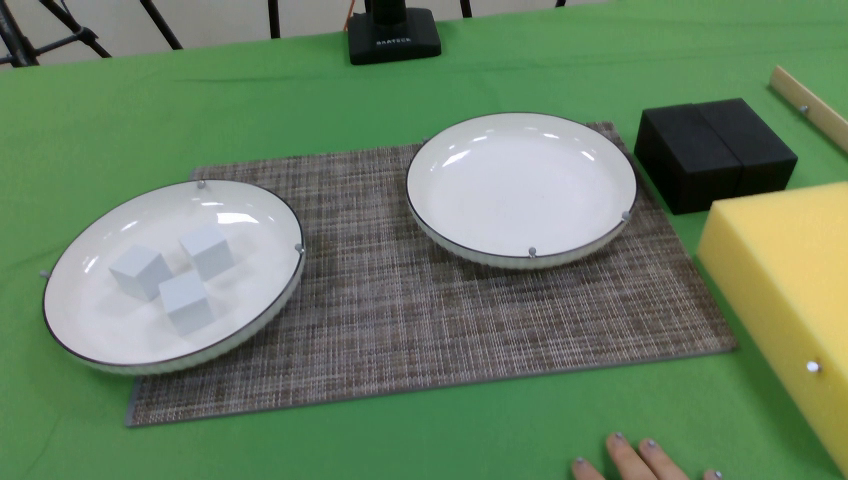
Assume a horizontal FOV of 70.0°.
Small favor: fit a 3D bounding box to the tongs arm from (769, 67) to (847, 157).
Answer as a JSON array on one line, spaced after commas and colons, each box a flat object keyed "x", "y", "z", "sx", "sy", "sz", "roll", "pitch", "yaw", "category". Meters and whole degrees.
[{"x": 0.443, "y": -0.057, "z": 0.559, "sx": 0.028, "sy": 0.028, "sz": 0.383, "roll": -10, "pitch": 45, "yaw": -9, "category": "tongs arm"}]

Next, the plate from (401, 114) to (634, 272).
[{"x": 0.084, "y": -0.043, "z": 0.561, "sx": 0.207, "sy": 0.039, "sz": 0.205, "roll": -2, "pitch": 45, "yaw": 2, "category": "plate"}]

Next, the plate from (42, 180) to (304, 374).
[{"x": -0.202, "y": 0.029, "z": 0.510, "sx": 0.209, "sy": 0.038, "sz": 0.207, "roll": -2, "pitch": 44, "yaw": 2, "category": "plate"}]

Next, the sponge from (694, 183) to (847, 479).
[{"x": 0.304, "y": 0.053, "z": 0.436, "sx": 0.118, "sy": 0.061, "sz": 0.204, "roll": -10, "pitch": 46, "yaw": -5, "category": "sponge"}]
